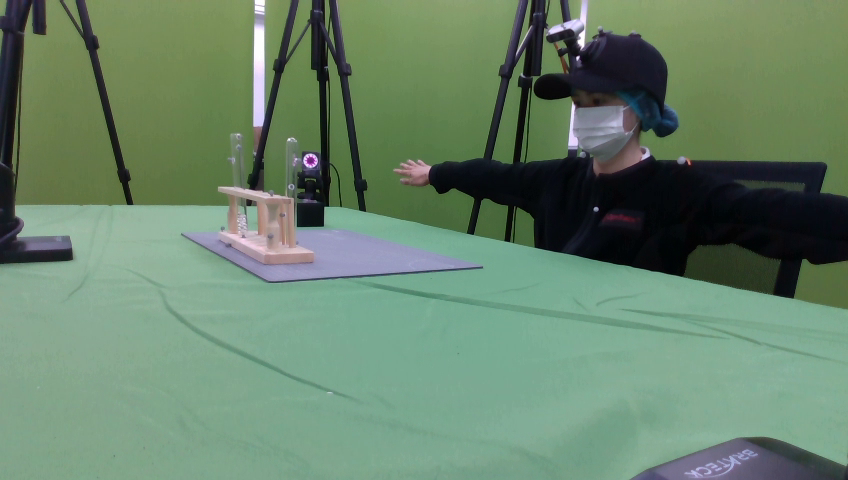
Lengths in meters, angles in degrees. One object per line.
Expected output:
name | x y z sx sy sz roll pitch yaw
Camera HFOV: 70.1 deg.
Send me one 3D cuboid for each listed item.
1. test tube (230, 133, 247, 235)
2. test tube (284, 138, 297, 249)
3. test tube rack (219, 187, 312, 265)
test tube | -0.273 -0.081 0.893 0.017 0.150 0.017 -1 9 0
test tube | -0.181 -0.062 0.816 0.017 0.150 0.017 2 7 0
test tube rack | -0.235 -0.027 0.872 0.067 0.085 0.241 -1 8 -31
